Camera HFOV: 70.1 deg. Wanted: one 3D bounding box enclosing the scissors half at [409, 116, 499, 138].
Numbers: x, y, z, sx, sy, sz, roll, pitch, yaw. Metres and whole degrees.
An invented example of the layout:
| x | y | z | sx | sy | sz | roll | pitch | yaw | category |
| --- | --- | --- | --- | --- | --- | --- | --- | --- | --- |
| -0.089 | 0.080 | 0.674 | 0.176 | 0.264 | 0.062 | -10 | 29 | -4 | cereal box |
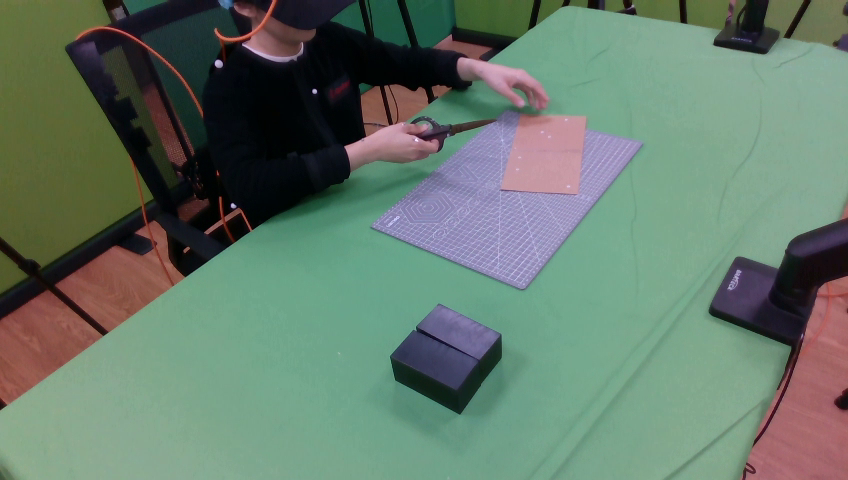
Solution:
| x | y | z | sx | sy | sz | roll | pitch | yaw | category |
| --- | --- | --- | --- | --- | --- | --- | --- | --- | --- |
| 0.052 | -0.207 | 1.084 | 0.174 | 0.040 | 0.013 | 1 | 33 | 25 | scissors half |

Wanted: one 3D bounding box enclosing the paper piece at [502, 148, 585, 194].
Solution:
| x | y | z | sx | sy | sz | roll | pitch | yaw | category |
| --- | --- | --- | --- | --- | --- | --- | --- | --- | --- |
| 0.219 | -0.128 | 1.101 | 0.135 | 0.009 | 0.138 | 2 | 42 | 17 | paper piece |

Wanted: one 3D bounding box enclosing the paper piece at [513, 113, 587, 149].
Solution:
| x | y | z | sx | sy | sz | roll | pitch | yaw | category |
| --- | --- | --- | --- | --- | --- | --- | --- | --- | --- |
| 0.251 | -0.215 | 1.196 | 0.135 | 0.004 | 0.135 | 6 | 42 | 14 | paper piece |

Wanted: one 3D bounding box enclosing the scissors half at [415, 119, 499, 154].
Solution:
| x | y | z | sx | sy | sz | roll | pitch | yaw | category |
| --- | --- | --- | --- | --- | --- | --- | --- | --- | --- |
| 0.058 | -0.190 | 1.093 | 0.174 | 0.040 | 0.013 | -15 | 30 | 34 | scissors half |
